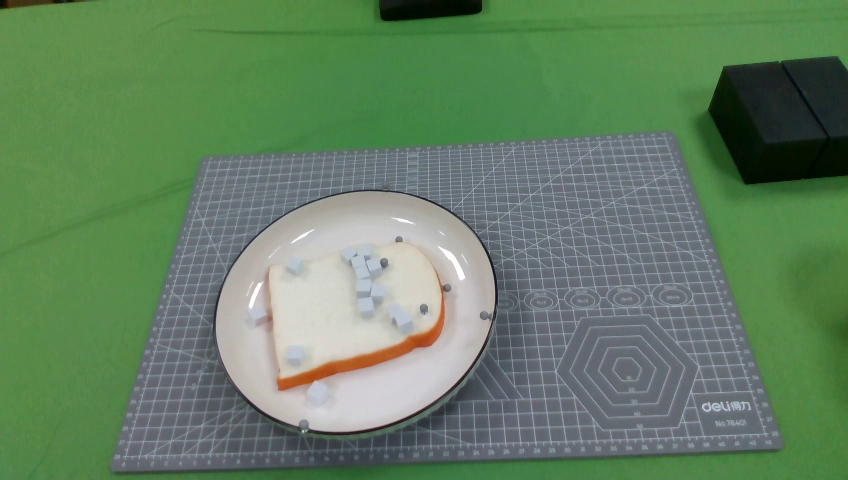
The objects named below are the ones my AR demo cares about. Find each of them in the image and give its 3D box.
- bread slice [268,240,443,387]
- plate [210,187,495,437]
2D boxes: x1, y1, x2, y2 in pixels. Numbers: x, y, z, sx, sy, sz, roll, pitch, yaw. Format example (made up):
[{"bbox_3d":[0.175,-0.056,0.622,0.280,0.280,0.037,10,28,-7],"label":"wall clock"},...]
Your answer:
[{"bbox_3d":[-0.053,0.046,0.460,0.131,0.019,0.103,-15,54,-5],"label":"bread slice"},{"bbox_3d":[-0.051,0.049,0.454,0.209,0.038,0.207,-2,53,3],"label":"plate"}]
